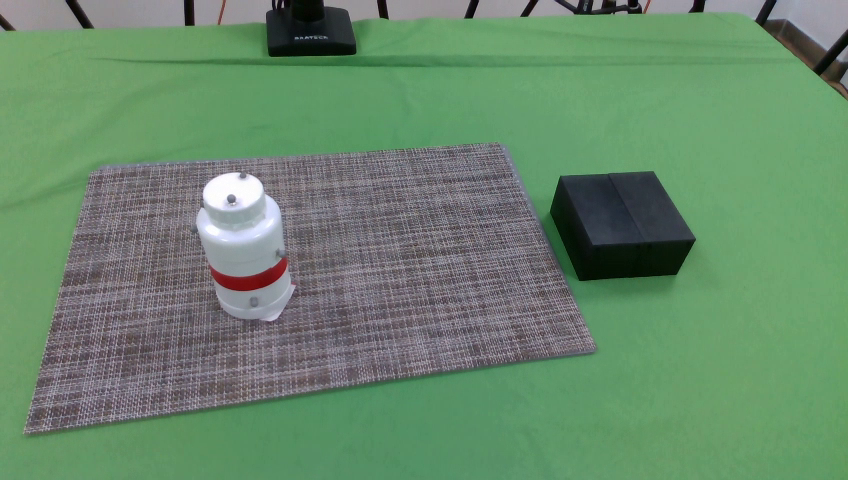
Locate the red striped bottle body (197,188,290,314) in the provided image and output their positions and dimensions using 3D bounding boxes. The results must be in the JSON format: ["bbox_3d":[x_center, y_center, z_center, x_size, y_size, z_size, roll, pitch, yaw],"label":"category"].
[{"bbox_3d":[-0.147,0.002,0.496,0.063,0.120,0.062,3,47,-3],"label":"red striped bottle body"}]

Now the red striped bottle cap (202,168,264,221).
[{"bbox_3d":[-0.144,-0.035,0.457,0.044,0.018,0.044,5,46,-5],"label":"red striped bottle cap"}]
